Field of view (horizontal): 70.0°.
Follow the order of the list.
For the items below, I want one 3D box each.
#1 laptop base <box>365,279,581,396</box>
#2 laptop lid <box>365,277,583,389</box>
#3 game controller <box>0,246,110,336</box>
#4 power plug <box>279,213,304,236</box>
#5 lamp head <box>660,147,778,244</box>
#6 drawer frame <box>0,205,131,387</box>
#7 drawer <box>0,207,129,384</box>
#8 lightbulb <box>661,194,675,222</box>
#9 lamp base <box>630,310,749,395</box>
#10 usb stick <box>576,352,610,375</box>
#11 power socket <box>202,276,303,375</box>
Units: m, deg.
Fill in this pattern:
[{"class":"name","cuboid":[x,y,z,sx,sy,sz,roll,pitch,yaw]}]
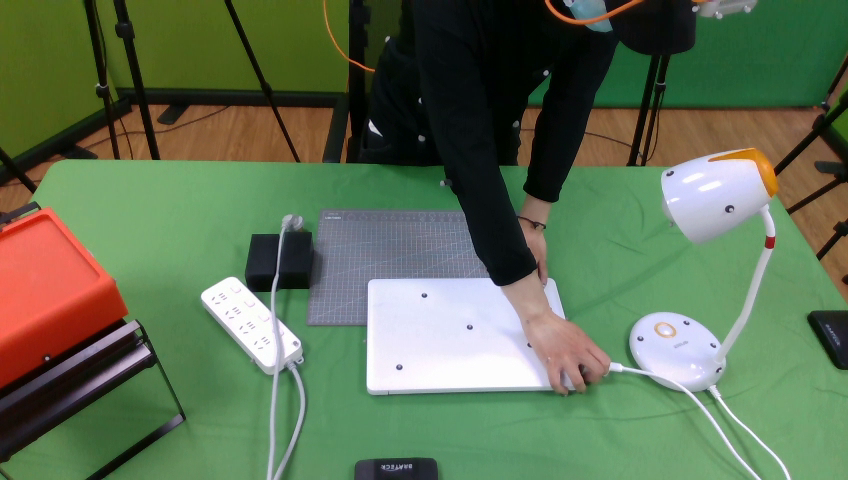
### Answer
[{"class":"laptop base","cuboid":[0.077,0.163,1.053,0.355,0.023,0.234,0,44,-5]},{"class":"laptop lid","cuboid":[0.077,0.153,1.046,0.357,0.013,0.240,1,45,-4]},{"class":"game controller","cuboid":[-0.511,0.063,0.830,0.097,0.052,0.154,-30,58,-32]},{"class":"power plug","cuboid":[-0.263,-0.021,1.184,0.035,0.053,0.072,5,49,32]},{"class":"lamp head","cuboid":[0.389,-0.062,0.784,0.123,0.113,0.112,-22,33,37]},{"class":"drawer frame","cuboid":[-0.539,0.076,0.795,0.200,0.083,0.213,36,54,26]},{"class":"drawer","cuboid":[-0.539,0.074,0.799,0.193,0.073,0.211,37,55,27]},{"class":"lightbulb","cuboid":[0.369,-0.059,0.807,0.060,0.107,0.059,18,60,-35]},{"class":"lamp base","cuboid":[0.447,0.143,0.984,0.161,0.181,0.178,-24,55,-24]},{"class":"usb stick","cuboid":[0.280,0.205,1.016,0.059,0.027,0.021,15,53,14]},{"class":"power socket","cuboid":[-0.296,0.142,1.033,0.072,0.033,0.225,-34,58,-31]}]
